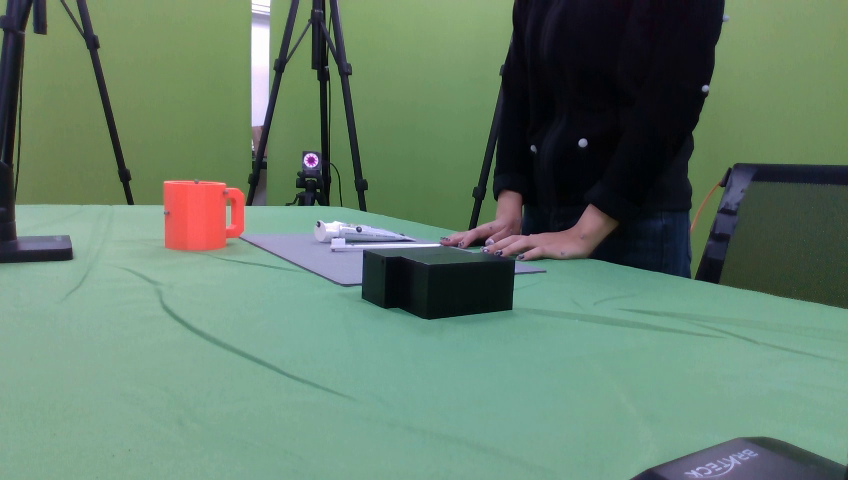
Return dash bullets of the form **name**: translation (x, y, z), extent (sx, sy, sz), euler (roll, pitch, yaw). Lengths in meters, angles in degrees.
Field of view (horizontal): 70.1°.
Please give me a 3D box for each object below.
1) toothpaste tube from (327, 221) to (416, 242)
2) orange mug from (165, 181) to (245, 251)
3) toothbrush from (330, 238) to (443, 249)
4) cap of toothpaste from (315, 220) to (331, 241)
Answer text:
- **toothpaste tube**: translation (-0.095, -0.012, 1.026), extent (0.166, 0.034, 0.055), euler (2, 13, -33)
- **orange mug**: translation (-0.326, -0.040, 0.911), extent (0.083, 0.101, 0.127), euler (8, 14, 37)
- **toothbrush**: translation (-0.054, 0.006, 0.927), extent (0.183, 0.016, 0.014), euler (1, -8, -23)
- **cap of toothpaste**: translation (-0.165, -0.016, 0.982), extent (0.011, 0.037, 0.037), euler (-9, 12, -43)
